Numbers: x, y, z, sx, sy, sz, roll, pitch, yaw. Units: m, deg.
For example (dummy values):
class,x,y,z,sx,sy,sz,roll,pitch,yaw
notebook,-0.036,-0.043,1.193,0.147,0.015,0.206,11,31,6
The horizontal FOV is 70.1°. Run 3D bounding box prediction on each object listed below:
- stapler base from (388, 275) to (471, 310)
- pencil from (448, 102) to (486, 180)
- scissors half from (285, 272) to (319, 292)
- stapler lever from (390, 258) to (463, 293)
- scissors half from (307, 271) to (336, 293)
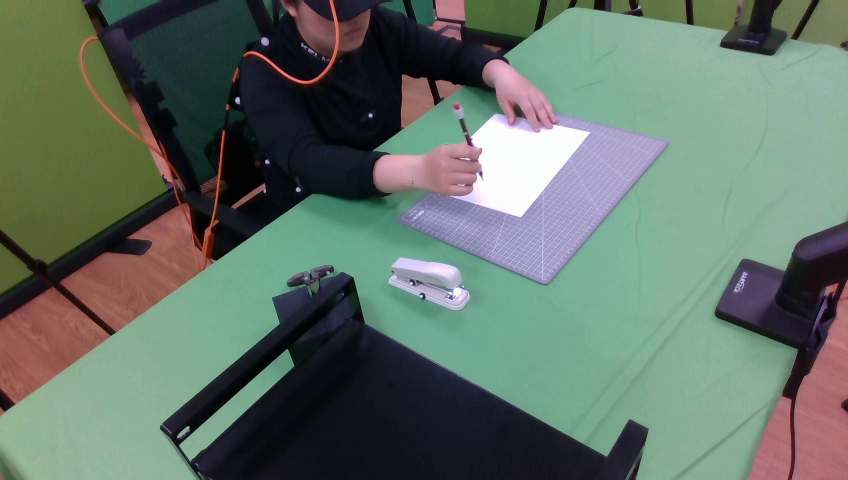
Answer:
class,x,y,z,sx,sy,sz,roll,pitch,yaw
stapler base,0.007,0.066,0.897,0.129,0.024,0.041,17,43,29
pencil,0.071,-0.147,0.935,0.012,0.195,0.012,-10,58,17
scissors half,-0.171,0.063,0.868,0.040,0.013,0.174,-10,7,-21
stapler lever,0.003,0.046,0.881,0.117,0.040,0.027,17,43,29
scissors half,-0.152,0.061,0.872,0.040,0.013,0.175,-3,5,-4
